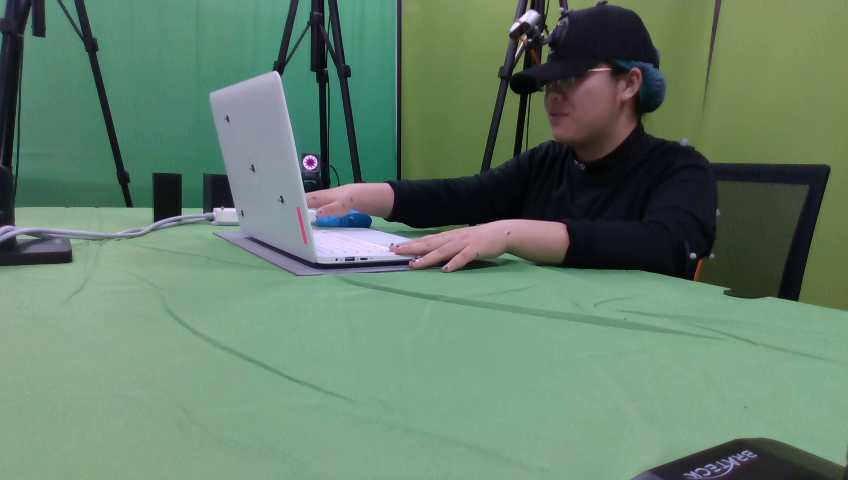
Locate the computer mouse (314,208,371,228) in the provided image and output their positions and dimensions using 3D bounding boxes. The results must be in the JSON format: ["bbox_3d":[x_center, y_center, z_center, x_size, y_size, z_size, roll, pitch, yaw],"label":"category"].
[{"bbox_3d":[-0.173,-0.046,1.285,0.118,0.041,0.062,-7,13,-30],"label":"computer mouse"}]

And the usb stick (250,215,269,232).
[{"bbox_3d":[-0.290,-0.028,1.070,0.021,0.027,0.059,0,11,-31],"label":"usb stick"}]

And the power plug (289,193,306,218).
[{"bbox_3d":[-0.281,-0.076,1.340,0.035,0.052,0.072,3,6,-17],"label":"power plug"}]

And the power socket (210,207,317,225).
[{"bbox_3d":[-0.335,-0.051,1.281,0.228,0.032,0.072,-1,8,-28],"label":"power socket"}]

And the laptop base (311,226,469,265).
[{"bbox_3d":[-0.123,0.007,0.951,0.237,0.023,0.352,2,6,-32],"label":"laptop base"}]

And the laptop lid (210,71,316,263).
[{"bbox_3d":[-0.240,-0.104,0.861,0.013,0.241,0.355,-16,17,-29],"label":"laptop lid"}]
